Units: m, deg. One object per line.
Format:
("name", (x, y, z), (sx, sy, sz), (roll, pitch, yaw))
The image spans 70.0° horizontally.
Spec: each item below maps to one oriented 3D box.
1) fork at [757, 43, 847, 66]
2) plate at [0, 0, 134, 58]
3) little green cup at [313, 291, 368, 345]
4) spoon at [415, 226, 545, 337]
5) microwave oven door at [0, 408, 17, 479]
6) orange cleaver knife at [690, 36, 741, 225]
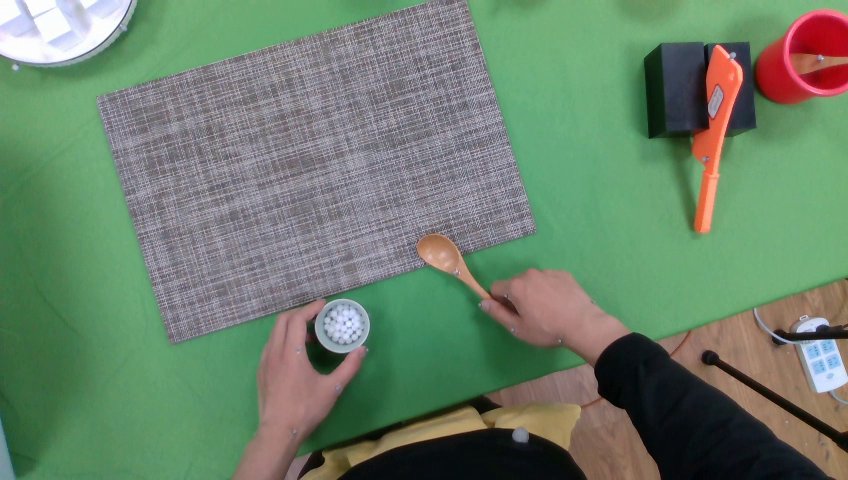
("fork", (0.486, -0.210, 0.674), (0.205, 0.019, 0.028), (11, 85, 40))
("plate", (-0.426, -0.306, 0.688), (0.208, 0.039, 0.207), (0, 89, -2))
("little green cup", (-0.094, 0.089, 0.699), (0.061, 0.038, 0.061), (0, 87, -2))
("spoon", (0.068, 0.052, 0.710), (0.194, 0.021, 0.041), (42, 109, -2))
("microwave oven door", (-0.509, 0.098, 0.560), (0.039, 0.244, 0.355), (-14, 90, -2))
("orange cleaver knife", (0.325, -0.121, 0.697), (0.012, 0.076, 0.213), (-2, 119, 0))
